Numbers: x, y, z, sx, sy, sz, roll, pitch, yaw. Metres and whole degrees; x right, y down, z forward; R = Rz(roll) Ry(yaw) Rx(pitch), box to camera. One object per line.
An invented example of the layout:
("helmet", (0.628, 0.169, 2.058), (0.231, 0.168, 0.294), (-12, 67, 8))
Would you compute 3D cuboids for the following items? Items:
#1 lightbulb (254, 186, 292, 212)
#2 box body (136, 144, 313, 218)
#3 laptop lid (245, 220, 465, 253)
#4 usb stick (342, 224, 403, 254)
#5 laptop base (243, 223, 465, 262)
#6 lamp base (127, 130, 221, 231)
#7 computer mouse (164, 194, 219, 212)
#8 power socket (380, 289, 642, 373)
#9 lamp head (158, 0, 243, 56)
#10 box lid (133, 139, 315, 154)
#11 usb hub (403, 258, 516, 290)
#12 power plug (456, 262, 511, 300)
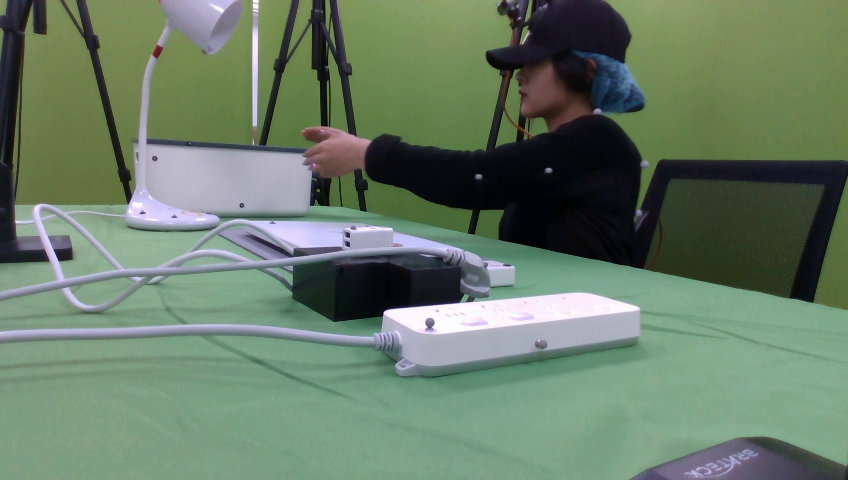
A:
("lightbulb", (-0.370, -0.095, 1.492), (0.059, 0.059, 0.108), (8, -10, 39))
("box body", (-0.467, -0.141, 1.417), (0.366, 0.160, 0.253), (-2, 8, -31))
("laptop lid", (-0.124, -0.009, 0.945), (0.243, 0.013, 0.355), (1, 7, -29))
("usb stick", (-0.047, -0.001, 0.567), (0.059, 0.027, 0.021), (0, 5, -32))
("laptop base", (-0.126, 0.003, 0.946), (0.237, 0.023, 0.352), (2, 6, -31))
("lamp base", (-0.469, -0.112, 1.108), (0.179, 0.180, 0.160), (0, 7, 3))
("computer mouse", (-0.532, -0.084, 1.387), (0.118, 0.041, 0.062), (2, 4, -31))
("power socket", (0.072, 0.064, 0.461), (0.228, 0.032, 0.072), (-2, 8, -30))
("lamp head", (-0.399, -0.397, 1.057), (0.123, 0.112, 0.112), (27, 5, -7))
("box lid", (-0.466, -0.215, 1.407), (0.373, 0.015, 0.262), (-1, 8, -31))
("usb hub", (0.042, 0.038, 0.690), (0.126, 0.025, 0.049), (-2, 10, -30))
("power plug", (0.051, 0.050, 0.543), (0.035, 0.052, 0.072), (7, 37, -20))
